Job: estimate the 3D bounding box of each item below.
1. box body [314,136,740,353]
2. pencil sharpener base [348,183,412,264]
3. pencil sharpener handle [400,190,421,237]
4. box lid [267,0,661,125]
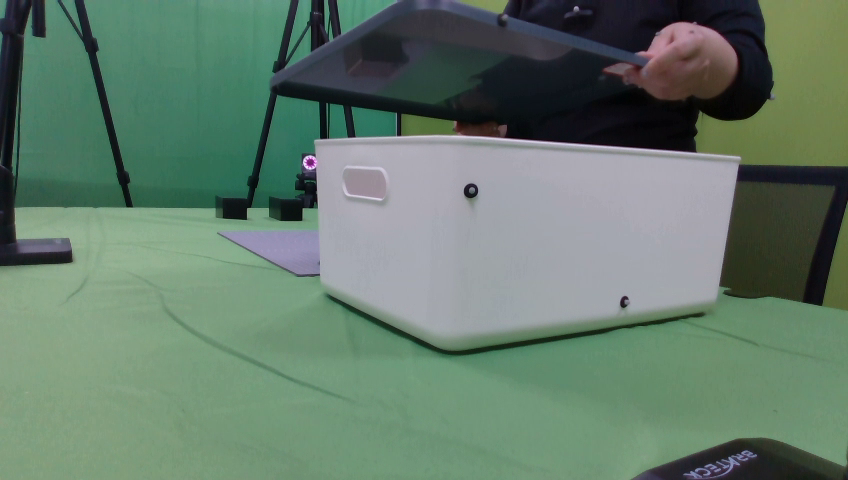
[{"bbox_3d":[0.098,-0.012,0.605,0.366,0.160,0.253,-2,8,-33],"label":"box body"},{"bbox_3d":[-0.059,-0.024,0.846,0.077,0.107,0.061,-1,8,-30],"label":"pencil sharpener base"},{"bbox_3d":[-0.016,-0.038,0.873,0.031,0.067,0.036,-1,18,-30],"label":"pencil sharpener handle"},{"bbox_3d":[0.048,-0.170,0.646,0.374,0.015,0.262,-2,-3,-40],"label":"box lid"}]
